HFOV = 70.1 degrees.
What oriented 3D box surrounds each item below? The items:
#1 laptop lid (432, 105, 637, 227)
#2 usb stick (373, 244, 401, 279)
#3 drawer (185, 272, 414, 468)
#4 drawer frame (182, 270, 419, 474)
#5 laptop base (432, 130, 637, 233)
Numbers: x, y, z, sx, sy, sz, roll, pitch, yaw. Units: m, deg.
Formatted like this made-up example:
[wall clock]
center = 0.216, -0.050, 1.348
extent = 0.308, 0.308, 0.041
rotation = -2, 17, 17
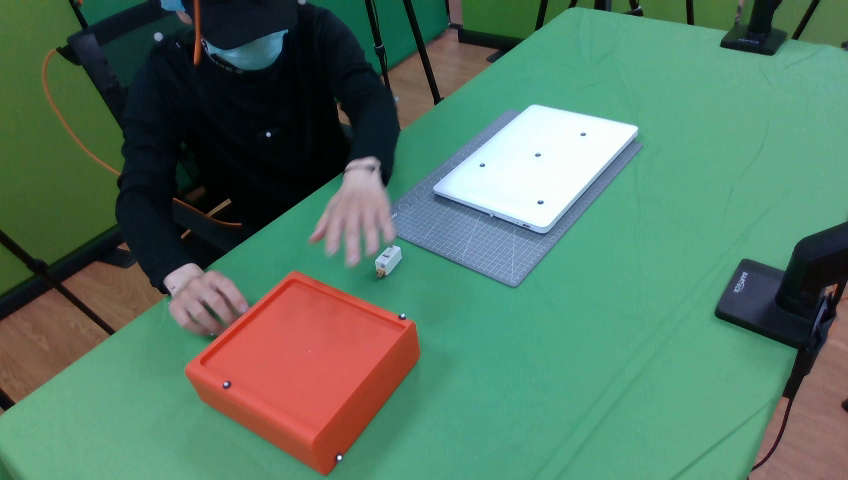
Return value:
[laptop lid]
center = 0.207, -0.152, 1.105
extent = 0.239, 0.013, 0.358
rotation = 23, 49, 34
[usb stick]
center = -0.060, 0.036, 0.937
extent = 0.021, 0.027, 0.059
rotation = 18, 49, 25
[drawer]
center = -0.152, 0.154, 0.768
extent = 0.210, 0.073, 0.195
rotation = 20, 46, 28
[drawer frame]
center = -0.150, 0.153, 0.767
extent = 0.212, 0.083, 0.202
rotation = 19, 46, 27
[laptop base]
center = 0.210, -0.142, 1.111
extent = 0.233, 0.023, 0.355
rotation = 21, 47, 34
